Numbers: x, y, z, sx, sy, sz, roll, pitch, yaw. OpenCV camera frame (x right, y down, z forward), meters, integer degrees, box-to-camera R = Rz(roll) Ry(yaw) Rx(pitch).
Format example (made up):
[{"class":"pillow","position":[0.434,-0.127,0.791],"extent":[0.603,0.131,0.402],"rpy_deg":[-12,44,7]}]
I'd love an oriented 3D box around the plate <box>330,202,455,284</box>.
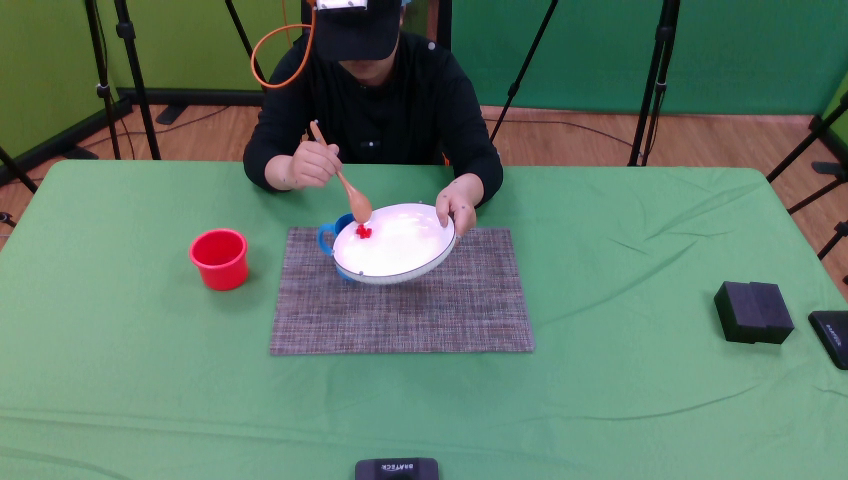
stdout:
[{"class":"plate","position":[-0.050,0.007,0.999],"extent":[0.207,0.039,0.206],"rpy_deg":[-8,34,6]}]

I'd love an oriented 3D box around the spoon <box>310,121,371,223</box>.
[{"class":"spoon","position":[-0.145,-0.115,1.036],"extent":[0.041,0.021,0.194],"rpy_deg":[-38,103,-30]}]

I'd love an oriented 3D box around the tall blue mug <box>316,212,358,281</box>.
[{"class":"tall blue mug","position":[-0.142,0.014,1.109],"extent":[0.107,0.108,0.077],"rpy_deg":[-5,48,-9]}]
